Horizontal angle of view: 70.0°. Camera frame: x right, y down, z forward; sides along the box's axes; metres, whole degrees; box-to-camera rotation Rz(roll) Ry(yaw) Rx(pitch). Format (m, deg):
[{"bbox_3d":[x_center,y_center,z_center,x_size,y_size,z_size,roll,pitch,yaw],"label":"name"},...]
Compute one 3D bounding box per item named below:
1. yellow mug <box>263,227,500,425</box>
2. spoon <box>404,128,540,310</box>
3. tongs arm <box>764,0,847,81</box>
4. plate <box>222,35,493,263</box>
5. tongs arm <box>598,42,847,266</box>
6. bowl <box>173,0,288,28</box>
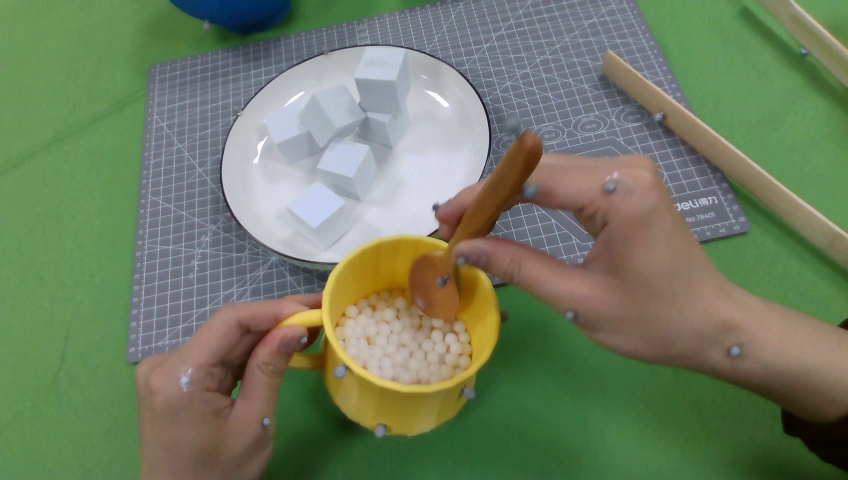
[{"bbox_3d":[-0.026,0.052,0.353,0.131,0.064,0.099,-4,56,-13],"label":"yellow mug"},{"bbox_3d":[0.017,0.000,0.296,0.021,0.194,0.041,-31,80,-18],"label":"spoon"},{"bbox_3d":[0.333,-0.065,0.421,0.051,0.027,0.381,-25,63,-6],"label":"tongs arm"},{"bbox_3d":[-0.050,-0.071,0.471,0.207,0.039,0.206,-3,62,6],"label":"plate"},{"bbox_3d":[0.262,-0.025,0.412,0.028,0.028,0.384,-35,64,-15],"label":"tongs arm"},{"bbox_3d":[-0.175,-0.255,0.567,0.151,0.077,0.150,-4,62,7],"label":"bowl"}]
